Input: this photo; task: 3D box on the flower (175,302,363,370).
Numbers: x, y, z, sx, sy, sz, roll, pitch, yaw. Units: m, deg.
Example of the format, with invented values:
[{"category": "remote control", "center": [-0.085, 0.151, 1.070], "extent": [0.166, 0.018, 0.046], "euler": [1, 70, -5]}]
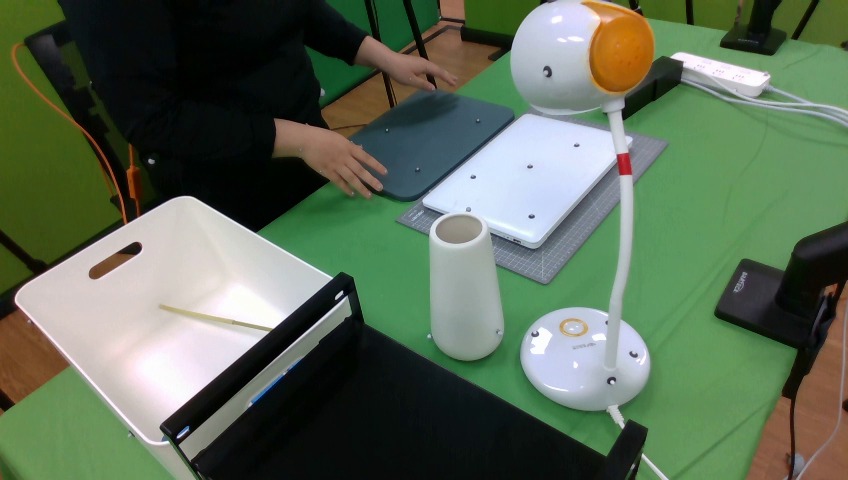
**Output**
[{"category": "flower", "center": [-0.233, 0.119, 0.831], "extent": [0.359, 0.038, 0.044], "euler": [8, 86, 33]}]

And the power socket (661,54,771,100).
[{"category": "power socket", "center": [0.615, -0.348, 1.285], "extent": [0.072, 0.033, 0.225], "euler": [-36, 48, -29]}]

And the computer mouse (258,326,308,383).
[{"category": "computer mouse", "center": [-0.160, 0.157, 0.792], "extent": [0.116, 0.041, 0.063], "euler": [27, 47, 23]}]

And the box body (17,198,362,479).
[{"category": "box body", "center": [-0.285, 0.123, 0.766], "extent": [0.361, 0.161, 0.255], "euler": [25, 49, 33]}]

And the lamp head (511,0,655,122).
[{"category": "lamp head", "center": [0.155, -0.168, 0.564], "extent": [0.113, 0.113, 0.122], "euler": [-18, 23, -12]}]

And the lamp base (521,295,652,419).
[{"category": "lamp base", "center": [0.201, 0.095, 0.710], "extent": [0.161, 0.181, 0.177], "euler": [-16, 43, -10]}]

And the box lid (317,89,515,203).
[{"category": "box lid", "center": [-0.009, -0.207, 1.236], "extent": [0.261, 0.015, 0.372], "euler": [23, 49, 32]}]

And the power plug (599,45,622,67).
[{"category": "power plug", "center": [0.437, -0.422, 1.412], "extent": [0.053, 0.035, 0.072], "euler": [-19, 75, -47]}]

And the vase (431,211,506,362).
[{"category": "vase", "center": [0.054, 0.062, 0.757], "extent": [0.098, 0.201, 0.097], "euler": [-3, 40, 3]}]

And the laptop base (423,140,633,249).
[{"category": "laptop base", "center": [0.194, -0.117, 1.087], "extent": [0.233, 0.023, 0.355], "euler": [20, 47, 34]}]

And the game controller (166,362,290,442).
[{"category": "game controller", "center": [-0.233, 0.210, 0.737], "extent": [0.096, 0.052, 0.155], "euler": [27, 52, 32]}]

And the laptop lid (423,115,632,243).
[{"category": "laptop lid", "center": [0.190, -0.126, 1.081], "extent": [0.239, 0.013, 0.358], "euler": [23, 48, 34]}]

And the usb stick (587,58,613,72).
[{"category": "usb stick", "center": [0.401, -0.399, 1.381], "extent": [0.059, 0.027, 0.021], "euler": [0, 48, 21]}]
